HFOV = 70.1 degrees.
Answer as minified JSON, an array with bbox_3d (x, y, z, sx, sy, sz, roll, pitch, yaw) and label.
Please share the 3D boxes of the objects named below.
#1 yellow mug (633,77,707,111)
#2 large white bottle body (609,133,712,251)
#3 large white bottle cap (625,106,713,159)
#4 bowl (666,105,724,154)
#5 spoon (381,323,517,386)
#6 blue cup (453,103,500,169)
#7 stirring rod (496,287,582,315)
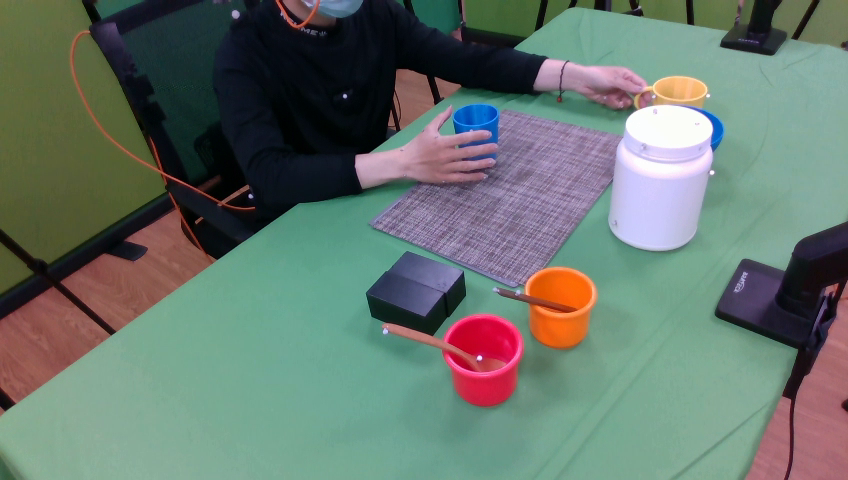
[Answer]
[{"bbox_3d":[0.479,-0.270,1.186,0.130,0.064,0.100,10,44,21],"label":"yellow mug"},{"bbox_3d":[0.351,-0.090,0.904,0.130,0.185,0.130,-5,41,4],"label":"large white bottle body"},{"bbox_3d":[0.342,-0.153,0.848,0.115,0.018,0.114,-4,41,4],"label":"large white bottle cap"},{"bbox_3d":[0.438,-0.166,1.063,0.151,0.077,0.150,-4,41,4],"label":"bowl"},{"bbox_3d":[0.033,0.133,0.722,0.195,0.021,0.041,29,33,-26],"label":"spoon"},{"bbox_3d":[0.100,-0.188,1.115,0.092,0.100,0.092,-5,40,4],"label":"blue cup"},{"bbox_3d":[0.150,0.080,0.773,0.178,0.006,0.014,17,21,-42],"label":"stirring rod"}]
